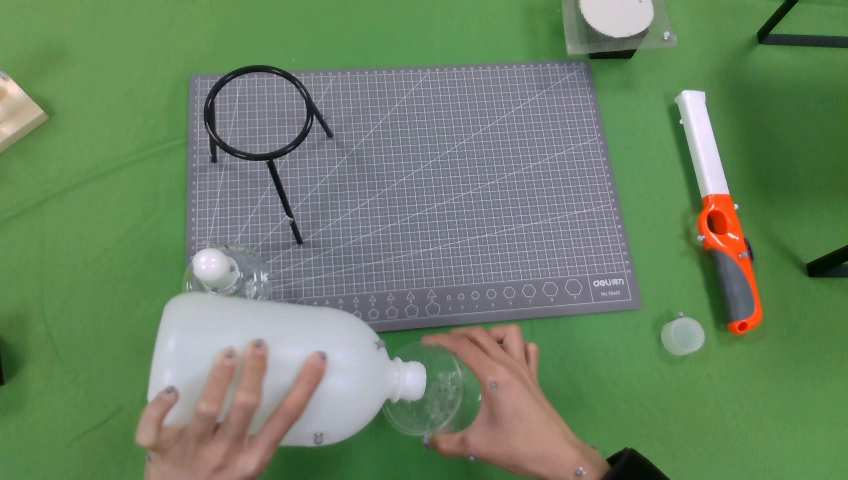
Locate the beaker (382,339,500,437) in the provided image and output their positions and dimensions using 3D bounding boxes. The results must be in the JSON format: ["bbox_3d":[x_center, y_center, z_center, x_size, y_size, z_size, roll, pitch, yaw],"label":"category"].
[{"bbox_3d":[0.016,0.132,0.524,0.083,0.101,0.073,-2,70,28],"label":"beaker"}]

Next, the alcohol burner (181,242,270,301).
[{"bbox_3d":[-0.178,0.033,0.535,0.078,0.119,0.077,2,69,-6],"label":"alcohol burner"}]

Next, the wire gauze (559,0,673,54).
[{"bbox_3d":[0.208,-0.263,0.677,0.121,0.011,0.124,-2,72,-6],"label":"wire gauze"}]

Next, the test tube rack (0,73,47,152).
[{"bbox_3d":[-0.495,-0.082,0.562,0.066,0.085,0.242,43,73,10],"label":"test tube rack"}]

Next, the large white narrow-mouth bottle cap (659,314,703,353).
[{"bbox_3d":[0.257,0.094,0.608,0.038,0.024,0.037,1,71,-3],"label":"large white narrow-mouth bottle cap"}]

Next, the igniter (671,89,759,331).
[{"bbox_3d":[0.311,-0.039,0.652,0.057,0.025,0.274,0,72,-16],"label":"igniter"}]

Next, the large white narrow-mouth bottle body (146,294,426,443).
[{"bbox_3d":[-0.094,0.099,0.451,0.195,0.102,0.101,8,70,-17],"label":"large white narrow-mouth bottle body"}]

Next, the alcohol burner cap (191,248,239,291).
[{"bbox_3d":[-0.175,0.023,0.501,0.034,0.048,0.033,1,77,-5],"label":"alcohol burner cap"}]

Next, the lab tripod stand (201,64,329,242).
[{"bbox_3d":[-0.143,-0.085,0.567,0.148,0.132,0.147,2,72,-6],"label":"lab tripod stand"}]
